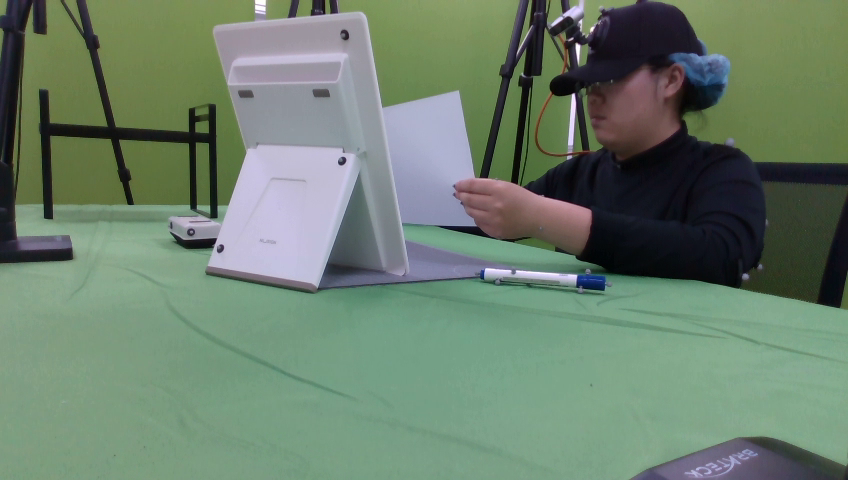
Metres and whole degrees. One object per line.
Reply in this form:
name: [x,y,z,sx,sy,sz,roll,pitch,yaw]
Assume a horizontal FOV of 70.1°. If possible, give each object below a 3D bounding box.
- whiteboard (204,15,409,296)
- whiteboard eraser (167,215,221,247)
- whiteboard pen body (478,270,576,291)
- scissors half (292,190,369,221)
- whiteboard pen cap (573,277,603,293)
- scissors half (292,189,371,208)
whiteboard: [-0.166,-0.072,0.669,0.216,0.305,0.144,8,30,30]
whiteboard eraser: [-0.350,-0.014,0.920,0.056,0.042,0.112,0,7,-35]
whiteboard pen body: [0.131,0.048,0.706,0.140,0.017,0.017,4,8,18]
scissors half: [-0.208,-0.079,1.336,0.175,0.040,0.013,20,18,-6]
whiteboard pen cap: [0.186,0.051,0.687,0.033,0.018,0.018,4,8,17]
scissors half: [-0.204,-0.097,1.329,0.175,0.040,0.013,5,24,-1]
